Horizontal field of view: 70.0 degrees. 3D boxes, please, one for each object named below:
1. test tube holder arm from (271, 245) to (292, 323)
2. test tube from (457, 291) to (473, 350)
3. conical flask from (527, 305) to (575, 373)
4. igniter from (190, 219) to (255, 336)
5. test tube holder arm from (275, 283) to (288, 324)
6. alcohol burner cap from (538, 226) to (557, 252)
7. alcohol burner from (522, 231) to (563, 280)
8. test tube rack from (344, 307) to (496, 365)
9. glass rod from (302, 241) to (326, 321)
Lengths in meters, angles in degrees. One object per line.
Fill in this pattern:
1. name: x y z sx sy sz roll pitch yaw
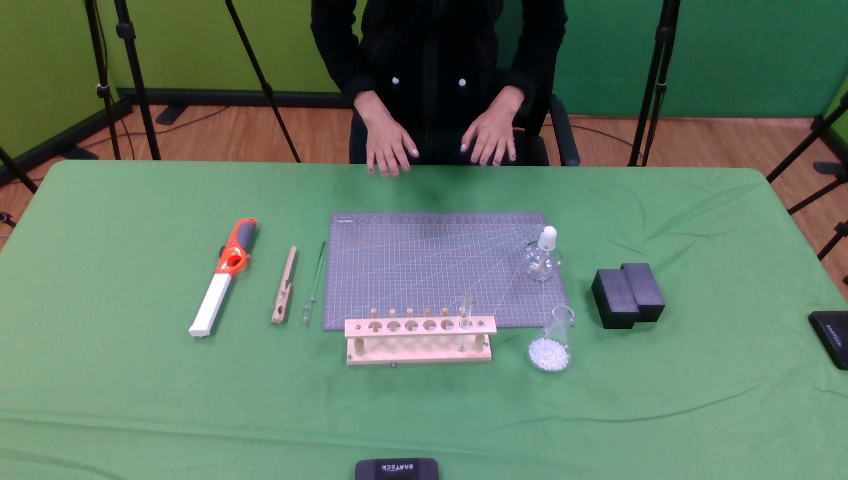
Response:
1. test tube holder arm: -0.259 0.076 1.106 0.013 0.015 0.177 29 38 -29
2. test tube: 0.064 0.132 0.965 0.017 0.151 0.017 1 48 -1
3. conical flask: 0.215 0.157 0.996 0.075 0.122 0.075 2 46 -2
4. igniter: -0.365 0.058 1.110 0.057 0.025 0.275 -1 45 8
5. test tube holder arm: -0.254 0.110 1.077 0.010 0.015 0.087 30 37 -28
6. alcohol burner cap: 0.226 -0.004 1.104 0.034 0.048 0.033 0 49 1
7. alcohol burner: 0.224 0.020 1.131 0.078 0.119 0.077 4 46 -4
8. test tube rack: -0.009 0.154 1.007 0.242 0.085 0.066 -1 46 -5
9. glass rod: -0.203 0.071 1.124 0.008 0.008 0.198 4 44 1
